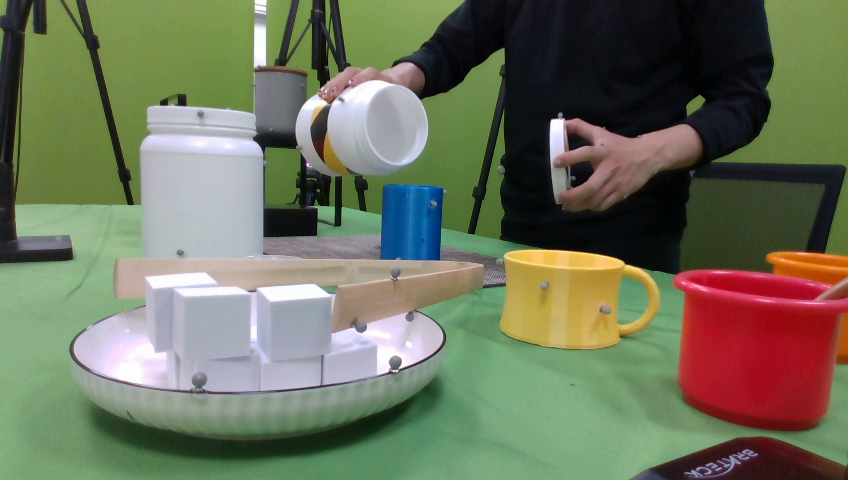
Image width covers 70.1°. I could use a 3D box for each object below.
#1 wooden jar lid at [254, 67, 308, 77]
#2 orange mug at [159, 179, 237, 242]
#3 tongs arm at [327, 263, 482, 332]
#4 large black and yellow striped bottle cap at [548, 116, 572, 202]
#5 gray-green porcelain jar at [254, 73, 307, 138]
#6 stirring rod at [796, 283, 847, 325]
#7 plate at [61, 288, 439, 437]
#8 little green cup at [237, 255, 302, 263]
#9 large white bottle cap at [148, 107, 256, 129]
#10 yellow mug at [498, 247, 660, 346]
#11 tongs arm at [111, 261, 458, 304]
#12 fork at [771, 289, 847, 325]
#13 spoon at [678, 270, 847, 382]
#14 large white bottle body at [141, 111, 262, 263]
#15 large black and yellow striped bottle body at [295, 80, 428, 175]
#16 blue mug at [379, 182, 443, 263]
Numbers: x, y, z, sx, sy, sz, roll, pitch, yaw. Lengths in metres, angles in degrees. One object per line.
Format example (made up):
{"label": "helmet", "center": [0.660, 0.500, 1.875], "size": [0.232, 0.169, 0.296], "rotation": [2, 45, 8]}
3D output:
{"label": "wooden jar lid", "center": [-0.296, -0.339, 1.251], "size": [0.108, 0.020, 0.108], "rotation": [2, 7, 0]}
{"label": "orange mug", "center": [-0.368, -0.052, 0.991], "size": [0.127, 0.101, 0.083], "rotation": [-10, 14, -41]}
{"label": "tongs arm", "center": [-0.003, 0.036, 0.493], "size": [0.050, 0.026, 0.386], "rotation": [1, 0, 19]}
{"label": "large black and yellow striped bottle cap", "center": [0.185, -0.109, 0.818], "size": [0.019, 0.115, 0.115], "rotation": [-6, 5, 18]}
{"label": "gray-green porcelain jar", "center": [-0.298, -0.277, 1.259], "size": [0.106, 0.126, 0.106], "rotation": [3, 7, 0]}
{"label": "stirring rod", "center": [0.346, 0.019, 0.460], "size": [0.014, 0.176, 0.006], "rotation": [-17, 59, -26]}
{"label": "plate", "center": [-0.095, 0.069, 0.362], "size": [0.208, 0.039, 0.207], "rotation": [3, 7, 0]}
{"label": "little green cup", "center": [-0.150, 0.038, 0.590], "size": [0.061, 0.038, 0.061], "rotation": [3, 7, 0]}
{"label": "large white bottle cap", "center": [-0.250, -0.137, 0.686], "size": [0.115, 0.018, 0.115], "rotation": [2, 8, 0]}
{"label": "yellow mug", "center": [0.130, 0.045, 0.508], "size": [0.131, 0.064, 0.100], "rotation": [4, 7, 6]}
{"label": "tongs arm", "center": [-0.080, 0.032, 0.527], "size": [0.028, 0.027, 0.389], "rotation": [-3, -3, 33]}
{"label": "fork", "center": [0.335, 0.018, 0.443], "size": [0.028, 0.018, 0.207], "rotation": [-1, -36, -20]}
{"label": "spoon", "center": [0.229, 0.031, 0.338], "size": [0.193, 0.021, 0.042], "rotation": [-44, -17, 27]}
{"label": "large white bottle body", "center": [-0.254, -0.053, 0.697], "size": [0.131, 0.184, 0.130], "rotation": [2, 7, 0]}
{"label": "large black and yellow striped bottle body", "center": [-0.092, -0.162, 0.884], "size": [0.131, 0.130, 0.183], "rotation": [-4, 7, -38]}
{"label": "blue mug", "center": [-0.019, -0.026, 0.833], "size": [0.082, 0.106, 0.116], "rotation": [1, 7, -7]}
